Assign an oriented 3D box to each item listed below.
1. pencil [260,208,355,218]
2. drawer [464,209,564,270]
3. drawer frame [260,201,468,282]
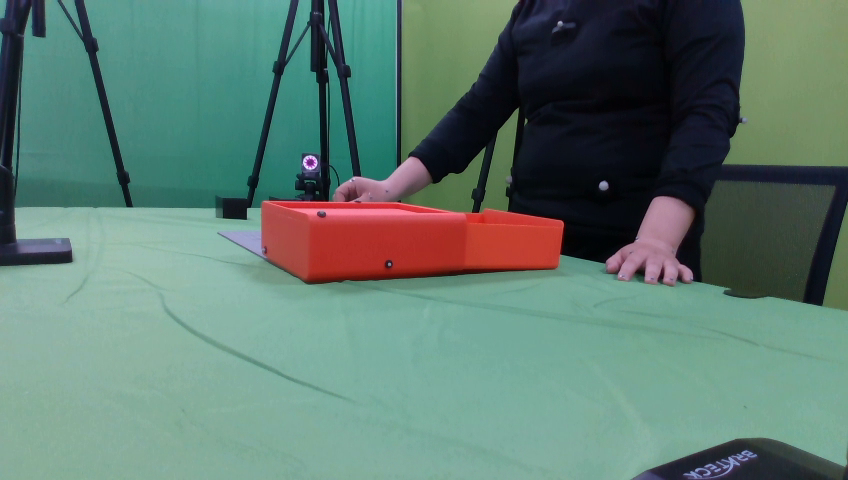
[{"bbox_3d":[-0.206,-0.051,1.097,0.195,0.012,0.012,-6,11,-41],"label":"pencil"},{"bbox_3d":[0.058,-0.006,0.880,0.213,0.073,0.193,0,9,-31],"label":"drawer"},{"bbox_3d":[-0.084,-0.006,0.795,0.215,0.082,0.200,-2,9,-30],"label":"drawer frame"}]
